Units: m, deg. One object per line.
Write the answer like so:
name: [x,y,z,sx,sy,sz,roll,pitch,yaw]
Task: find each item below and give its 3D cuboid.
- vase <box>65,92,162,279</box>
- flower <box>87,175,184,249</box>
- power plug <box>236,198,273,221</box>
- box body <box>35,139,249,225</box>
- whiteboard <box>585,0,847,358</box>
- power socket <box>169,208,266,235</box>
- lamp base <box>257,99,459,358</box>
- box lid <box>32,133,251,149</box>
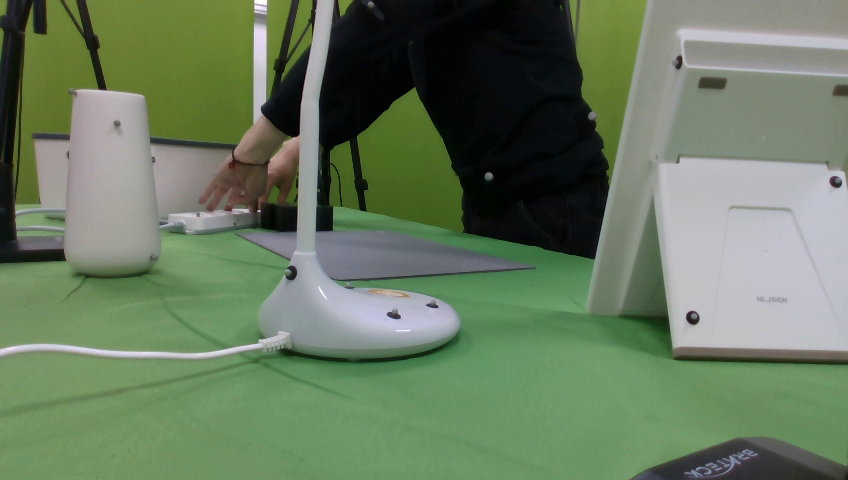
vase: [-0.347,-0.060,0.673,0.098,0.200,0.098,1,7,0]
flower: [-0.610,-0.063,1.291,0.044,0.038,0.361,-5,25,9]
power plug: [-0.363,-0.063,1.301,0.073,0.052,0.035,-8,-7,-11]
box body: [-0.561,-0.127,1.258,0.254,0.160,0.365,4,8,13]
whiteboard: [0.269,-0.034,0.466,0.217,0.305,0.143,2,27,-1]
power socket: [-0.379,-0.038,1.129,0.072,0.032,0.227,4,8,18]
lamp base: [-0.055,-0.013,0.463,0.160,0.180,0.180,6,11,27]
box lid: [-0.558,-0.200,1.250,0.263,0.015,0.372,5,8,13]
